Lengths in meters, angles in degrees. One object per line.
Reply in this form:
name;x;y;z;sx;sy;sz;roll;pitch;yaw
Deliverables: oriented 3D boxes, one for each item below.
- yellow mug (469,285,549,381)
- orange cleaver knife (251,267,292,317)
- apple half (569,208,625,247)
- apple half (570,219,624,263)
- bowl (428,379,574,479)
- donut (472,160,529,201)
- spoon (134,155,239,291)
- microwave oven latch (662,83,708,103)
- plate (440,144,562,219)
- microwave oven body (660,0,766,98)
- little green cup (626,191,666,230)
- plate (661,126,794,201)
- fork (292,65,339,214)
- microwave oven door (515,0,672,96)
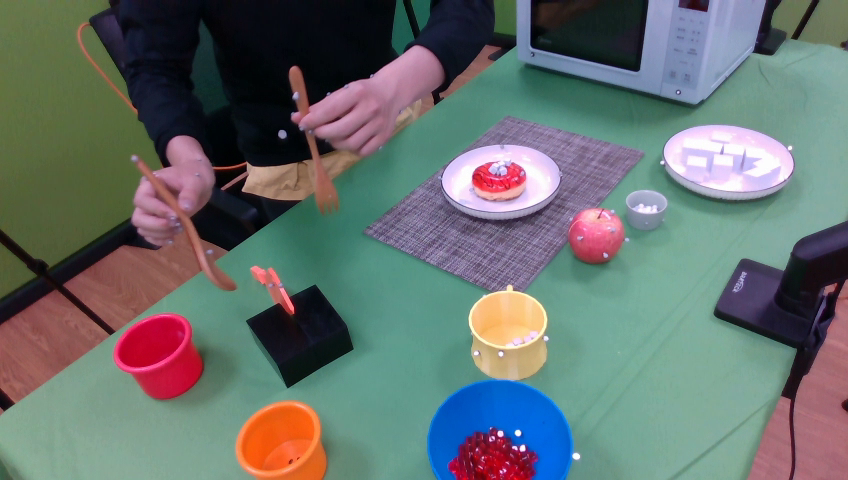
yellow mug;0.112;0.112;0.792;0.100;0.064;0.130;0;40;9
orange cleaver knife;-0.221;0.071;0.874;0.012;0.077;0.210;-24;10;-21
apple half;0.262;-0.014;0.913;0.080;0.075;0.053;4;37;19
apple half;0.250;0.010;0.885;0.081;0.081;0.033;8;39;17
bowl;0.082;0.233;0.644;0.151;0.077;0.150;-4;40;4
donut;0.131;-0.105;1.043;0.099;0.048;0.098;-5;37;4
spoon;-0.273;-0.016;0.705;0.021;0.194;0.041;-26;25;-3
microwave oven latch;0.518;-0.296;1.204;0.078;0.029;0.030;28;52;35
plate;0.134;-0.098;1.051;0.209;0.038;0.208;-4;40;4
microwave oven body;0.472;-0.513;1.317;0.438;0.261;0.327;26;51;34
little green cup;0.352;-0.046;0.963;0.061;0.039;0.061;-4;40;4
plate;0.513;-0.127;1.035;0.207;0.039;0.206;-4;40;4
fork;-0.126;-0.109;0.706;0.028;0.208;0.018;-14;41;-9
microwave oven door;0.344;-0.455;1.259;0.353;0.245;0.039;26;51;33
